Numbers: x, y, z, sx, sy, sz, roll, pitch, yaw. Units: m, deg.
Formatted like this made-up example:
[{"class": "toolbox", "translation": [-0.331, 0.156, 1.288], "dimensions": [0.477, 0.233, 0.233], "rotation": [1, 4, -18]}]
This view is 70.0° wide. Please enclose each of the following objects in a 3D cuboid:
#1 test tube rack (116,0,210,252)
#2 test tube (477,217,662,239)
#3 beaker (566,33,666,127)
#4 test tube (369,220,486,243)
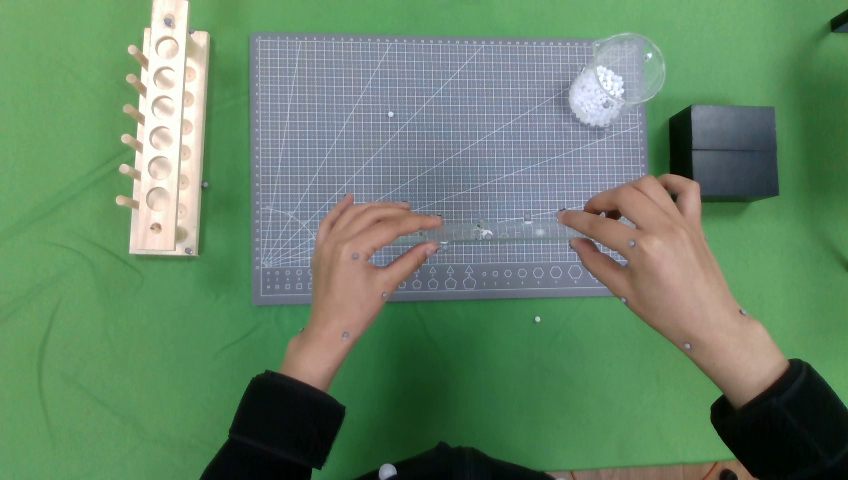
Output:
[{"class": "test tube rack", "translation": [-0.267, -0.112, 0.611], "dimensions": [0.067, 0.085, 0.242], "rotation": [2, 86, -6]}, {"class": "test tube", "translation": [0.118, -0.010, 0.490], "dimensions": [0.150, 0.017, 0.017], "rotation": [-1, 85, -3]}, {"class": "beaker", "translation": [0.200, -0.170, 0.656], "dimensions": [0.084, 0.100, 0.074], "rotation": [36, 82, -1]}, {"class": "test tube", "translation": [-0.003, -0.007, 0.545], "dimensions": [0.017, 0.149, 0.017], "rotation": [1, 88, -41]}]
